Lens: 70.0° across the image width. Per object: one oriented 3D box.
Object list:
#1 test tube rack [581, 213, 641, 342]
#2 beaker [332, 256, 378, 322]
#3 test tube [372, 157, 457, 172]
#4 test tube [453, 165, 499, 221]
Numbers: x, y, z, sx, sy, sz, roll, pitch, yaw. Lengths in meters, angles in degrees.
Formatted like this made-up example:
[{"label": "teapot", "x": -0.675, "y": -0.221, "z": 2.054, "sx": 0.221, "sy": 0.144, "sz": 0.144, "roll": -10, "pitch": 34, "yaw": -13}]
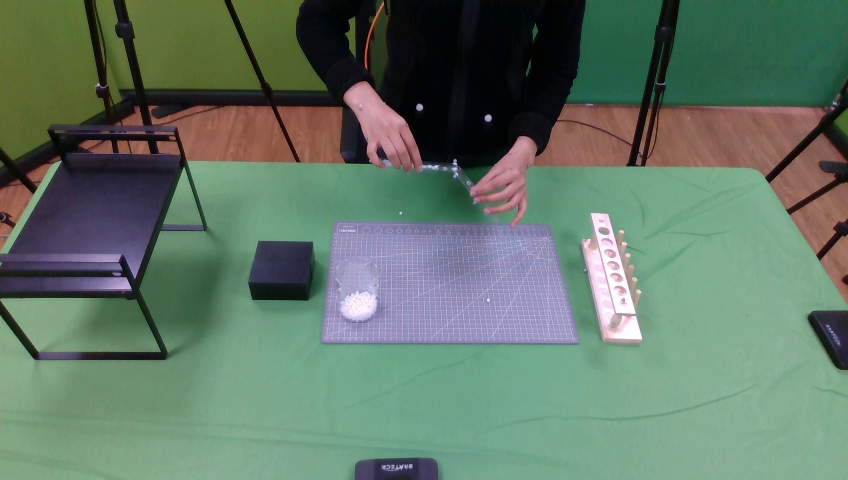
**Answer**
[{"label": "test tube rack", "x": 0.351, "y": 0.064, "z": 1.120, "sx": 0.067, "sy": 0.085, "sz": 0.241, "roll": 3, "pitch": 46, "yaw": -1}, {"label": "beaker", "x": -0.114, "y": 0.089, "z": 1.047, "sx": 0.083, "sy": 0.101, "sz": 0.074, "roll": 30, "pitch": 51, "yaw": 21}, {"label": "test tube", "x": -0.016, "y": -0.134, "z": 1.068, "sx": 0.150, "sy": 0.017, "sz": 0.017, "roll": 4, "pitch": 46, "yaw": -7}, {"label": "test tube", "x": 0.098, "y": -0.084, "z": 1.122, "sx": 0.017, "sy": 0.151, "sz": 0.017, "roll": -25, "pitch": 39, "yaw": 23}]
